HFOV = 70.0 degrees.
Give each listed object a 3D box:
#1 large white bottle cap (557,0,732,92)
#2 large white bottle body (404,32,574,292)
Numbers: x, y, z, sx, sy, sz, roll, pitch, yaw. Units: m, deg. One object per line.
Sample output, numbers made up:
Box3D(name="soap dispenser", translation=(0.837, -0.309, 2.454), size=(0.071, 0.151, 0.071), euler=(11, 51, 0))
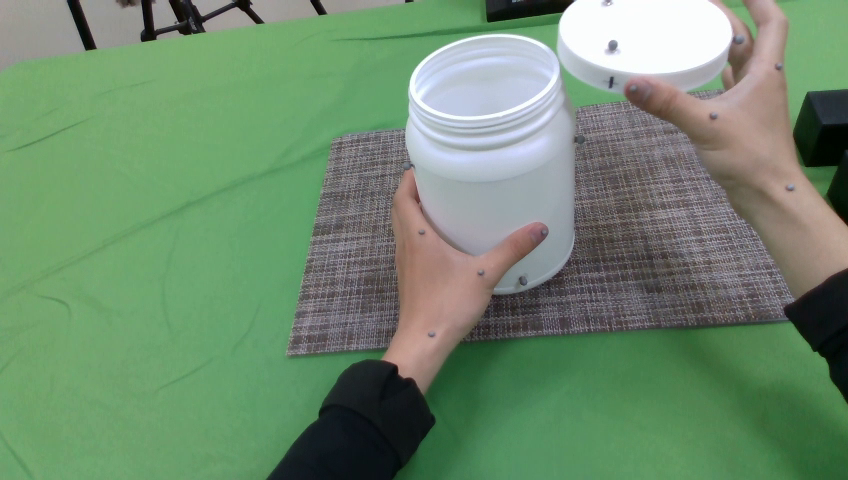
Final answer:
Box3D(name="large white bottle cap", translation=(0.151, -0.143, 0.420), size=(0.115, 0.018, 0.113), euler=(-3, 50, 4))
Box3D(name="large white bottle body", translation=(0.056, -0.060, 0.497), size=(0.130, 0.186, 0.129), euler=(-7, 47, 8))
